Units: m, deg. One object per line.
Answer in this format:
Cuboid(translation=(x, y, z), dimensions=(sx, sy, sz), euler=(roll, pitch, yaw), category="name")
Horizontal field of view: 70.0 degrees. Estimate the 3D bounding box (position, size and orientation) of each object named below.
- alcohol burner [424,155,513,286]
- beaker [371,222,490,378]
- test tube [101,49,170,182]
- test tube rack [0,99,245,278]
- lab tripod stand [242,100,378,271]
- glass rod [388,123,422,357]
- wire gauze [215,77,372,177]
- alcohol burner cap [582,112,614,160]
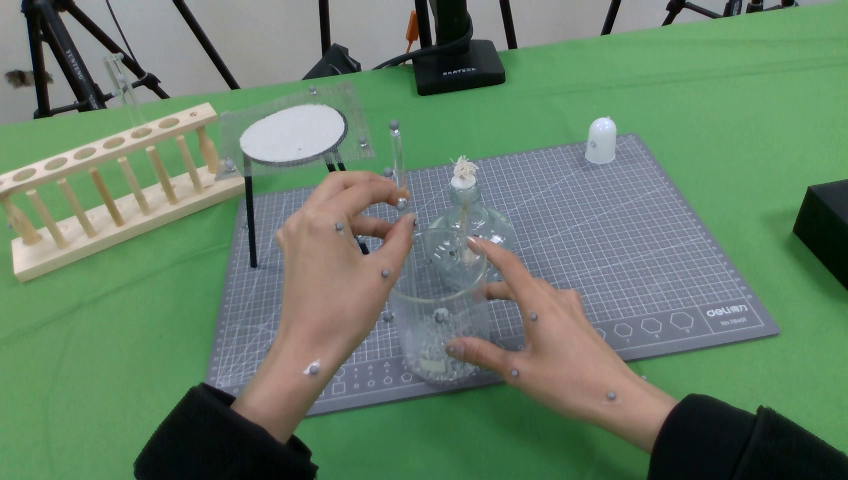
Cuboid(translation=(0.036, -0.019, 0.511), dimensions=(0.078, 0.120, 0.077), euler=(-5, 40, 5), category="alcohol burner")
Cuboid(translation=(0.009, 0.049, 0.452), dimensions=(0.084, 0.101, 0.073), euler=(-3, 42, 6), category="beaker")
Cuboid(translation=(-0.299, -0.125, 0.635), dimensions=(0.017, 0.151, 0.017), euler=(-4, 39, 4), category="test tube")
Cuboid(translation=(-0.323, -0.059, 0.640), dimensions=(0.242, 0.086, 0.066), euler=(-26, 45, -19), category="test tube rack")
Cuboid(translation=(-0.104, -0.046, 0.549), dimensions=(0.148, 0.133, 0.147), euler=(-5, 44, 5), category="lab tripod stand")
Cuboid(translation=(-0.012, 0.012, 0.416), dimensions=(0.008, 0.201, 0.008), euler=(-3, 37, 3), category="glass rod")
Cuboid(translation=(-0.113, -0.095, 0.504), dimensions=(0.125, 0.011, 0.120), euler=(-14, 42, -5), category="wire gauze")
Cuboid(translation=(0.186, -0.113, 0.645), dimensions=(0.034, 0.048, 0.033), euler=(-4, 42, 4), category="alcohol burner cap")
